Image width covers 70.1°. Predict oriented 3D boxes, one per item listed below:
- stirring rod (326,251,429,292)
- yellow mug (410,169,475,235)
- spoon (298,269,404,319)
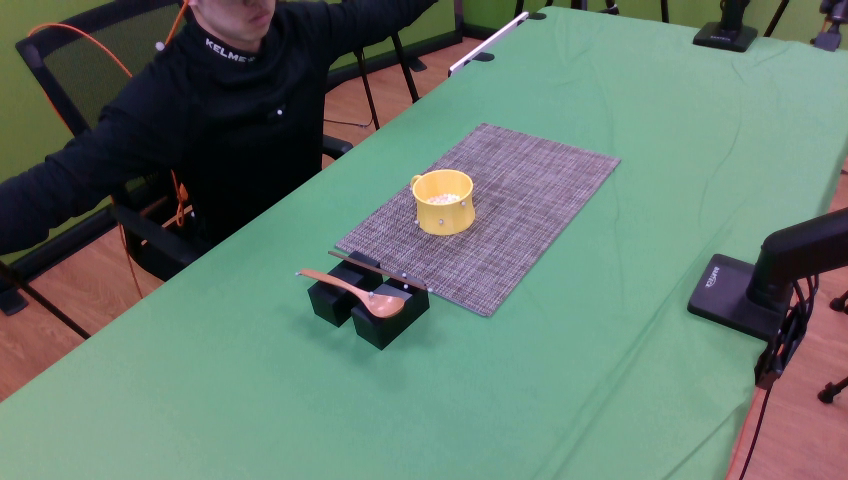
[{"bbox_3d":[-0.068,0.043,0.858,0.175,0.006,0.014,18,9,27],"label":"stirring rod"},{"bbox_3d":[0.022,-0.070,1.007,0.129,0.064,0.100,29,52,36],"label":"yellow mug"},{"bbox_3d":[-0.106,0.068,0.831,0.192,0.022,0.042,21,50,31],"label":"spoon"}]
